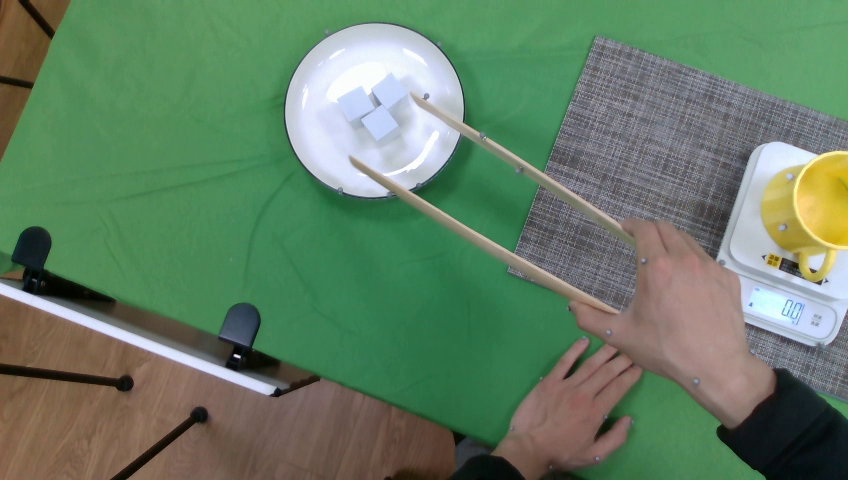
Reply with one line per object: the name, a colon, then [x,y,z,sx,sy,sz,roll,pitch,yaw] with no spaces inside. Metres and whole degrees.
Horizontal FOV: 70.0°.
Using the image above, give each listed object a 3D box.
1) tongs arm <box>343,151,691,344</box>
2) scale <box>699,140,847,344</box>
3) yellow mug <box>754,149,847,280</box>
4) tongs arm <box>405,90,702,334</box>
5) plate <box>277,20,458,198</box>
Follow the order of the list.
tongs arm: [0.058,-0.006,0.563,0.384,0.028,0.028,31,70,31]
scale: [0.405,0.001,0.670,0.148,0.031,0.200,20,86,5]
yellow mug: [0.405,-0.023,0.625,0.100,0.064,0.130,10,86,3]
tongs arm: [0.096,-0.046,0.573,0.050,0.027,0.381,-45,57,-11]
plate: [-0.064,-0.148,0.705,0.207,0.039,0.207,0,84,2]
